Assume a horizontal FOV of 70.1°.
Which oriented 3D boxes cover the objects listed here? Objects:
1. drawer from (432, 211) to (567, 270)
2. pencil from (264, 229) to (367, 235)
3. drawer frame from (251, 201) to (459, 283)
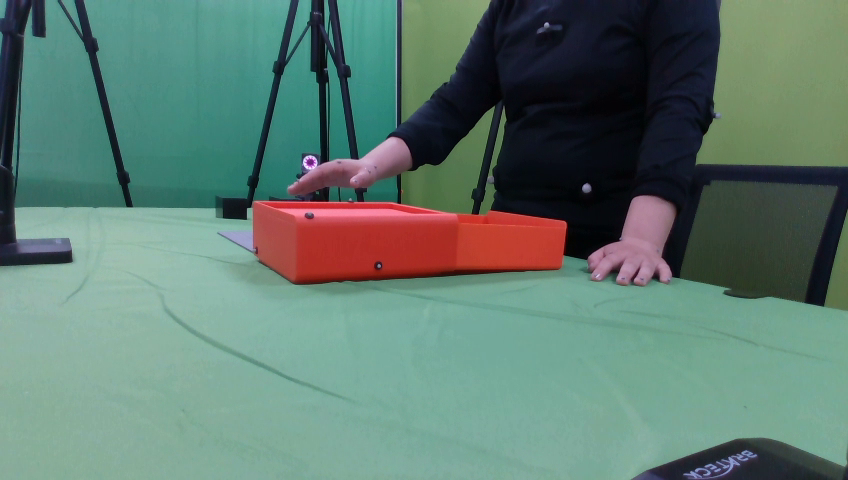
[{"bbox_3d":[0.063,-0.005,0.878,0.213,0.073,0.193,1,7,-30],"label":"drawer"},{"bbox_3d":[-0.195,-0.014,1.109,0.195,0.012,0.012,0,7,-28],"label":"pencil"},{"bbox_3d":[-0.095,-0.005,0.788,0.215,0.082,0.200,-2,10,-30],"label":"drawer frame"}]
